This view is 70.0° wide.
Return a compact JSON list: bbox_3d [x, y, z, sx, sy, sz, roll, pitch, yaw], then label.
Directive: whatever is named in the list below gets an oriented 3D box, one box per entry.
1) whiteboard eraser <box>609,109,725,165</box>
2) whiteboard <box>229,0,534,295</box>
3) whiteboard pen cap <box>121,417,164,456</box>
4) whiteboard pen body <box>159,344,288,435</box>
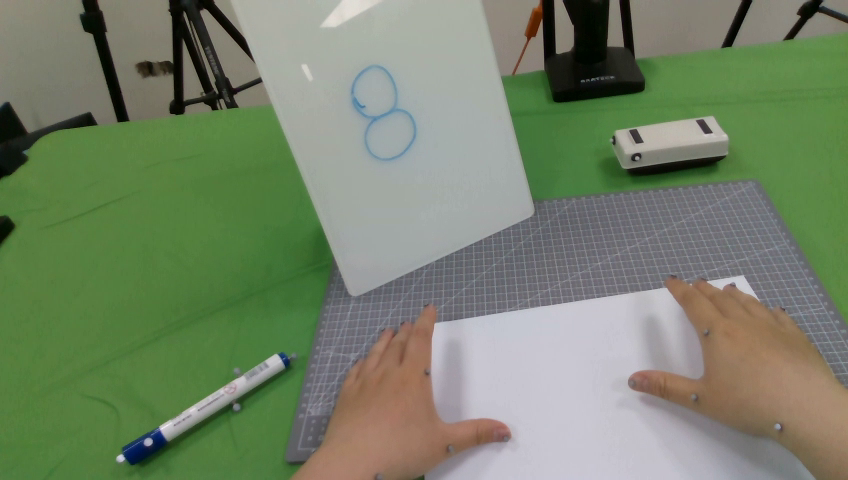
[{"bbox_3d":[0.267,-0.112,0.672,0.112,0.042,0.055,-7,43,4],"label":"whiteboard eraser"},{"bbox_3d":[-0.046,-0.140,0.620,0.217,0.307,0.142,-24,22,-13],"label":"whiteboard"},{"bbox_3d":[-0.225,0.158,0.490,0.033,0.018,0.018,-33,46,-24],"label":"whiteboard pen cap"},{"bbox_3d":[-0.179,0.131,0.513,0.141,0.017,0.017,-32,45,-24],"label":"whiteboard pen body"}]
